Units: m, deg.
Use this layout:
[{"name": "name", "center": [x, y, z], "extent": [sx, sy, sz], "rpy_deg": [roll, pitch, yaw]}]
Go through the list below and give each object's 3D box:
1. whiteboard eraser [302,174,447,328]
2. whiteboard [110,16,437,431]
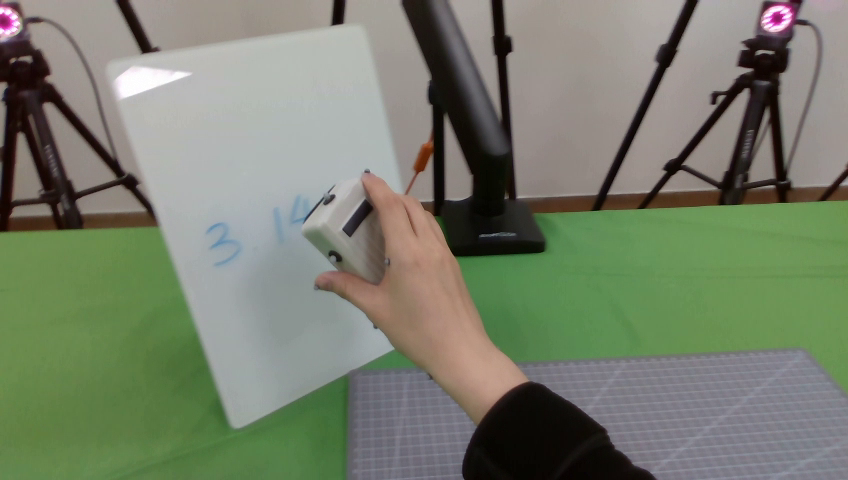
[{"name": "whiteboard eraser", "center": [-0.035, 0.010, 0.442], "extent": [0.041, 0.113, 0.055], "rpy_deg": [-13, 37, 46]}, {"name": "whiteboard", "center": [-0.140, -0.027, 0.569], "extent": [0.218, 0.307, 0.142], "rpy_deg": [-22, 20, -31]}]
